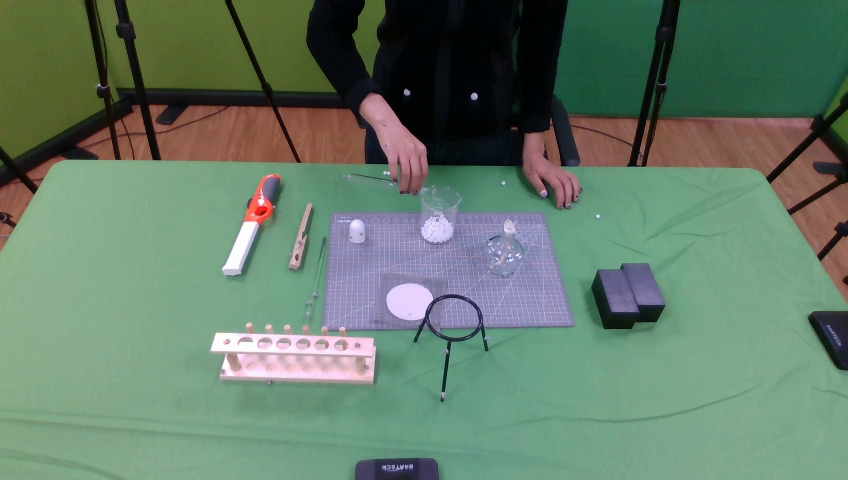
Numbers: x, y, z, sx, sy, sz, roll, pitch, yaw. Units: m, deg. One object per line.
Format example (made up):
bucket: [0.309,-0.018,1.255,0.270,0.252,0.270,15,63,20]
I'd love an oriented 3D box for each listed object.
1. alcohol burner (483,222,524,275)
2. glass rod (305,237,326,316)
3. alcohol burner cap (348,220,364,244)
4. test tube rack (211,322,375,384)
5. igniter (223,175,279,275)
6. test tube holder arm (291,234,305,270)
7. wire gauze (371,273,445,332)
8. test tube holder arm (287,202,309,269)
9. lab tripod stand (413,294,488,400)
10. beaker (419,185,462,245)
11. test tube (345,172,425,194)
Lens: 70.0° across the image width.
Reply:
alcohol burner: [0.152,0.010,1.136,0.078,0.119,0.077,4,46,-4]
glass rod: [-0.202,0.064,1.131,0.008,0.008,0.198,3,44,0]
alcohol burner cap: [-0.134,-0.019,1.190,0.034,0.048,0.033,2,46,-2]
test tube rack: [-0.202,0.176,0.969,0.242,0.085,0.066,3,46,-2]
igniter: [-0.341,-0.039,1.207,0.057,0.025,0.275,-1,45,8]
test tube holder arm: [-0.243,0.021,1.164,0.010,0.015,0.087,29,39,-25]
wire gauze: [-0.028,0.109,1.100,0.125,0.011,0.121,8,45,4]
test tube holder arm: [-0.247,-0.013,1.194,0.013,0.015,0.177,29,39,-25]
lab tripod stand: [0.045,0.159,0.972,0.148,0.132,0.147,2,44,-2]
beaker: [0.029,-0.047,1.191,0.084,0.101,0.073,-5,47,-10]
test tube: [-0.072,-0.106,1.128,0.150,0.017,0.017,9,45,-14]
